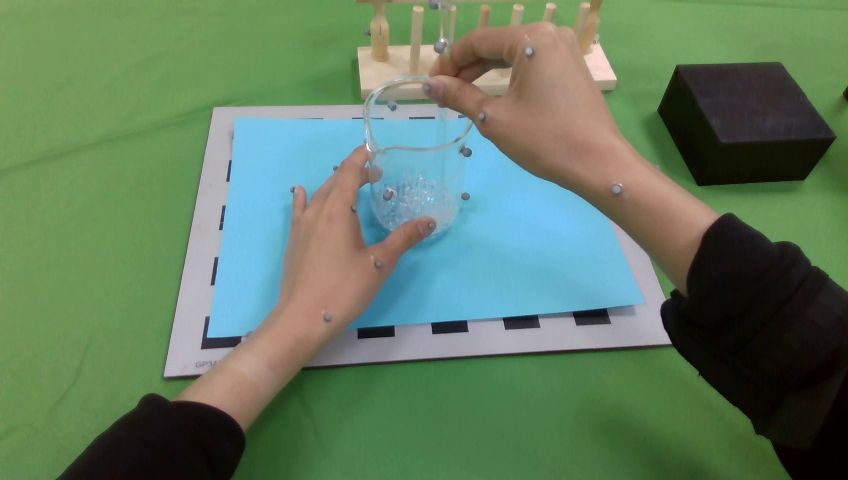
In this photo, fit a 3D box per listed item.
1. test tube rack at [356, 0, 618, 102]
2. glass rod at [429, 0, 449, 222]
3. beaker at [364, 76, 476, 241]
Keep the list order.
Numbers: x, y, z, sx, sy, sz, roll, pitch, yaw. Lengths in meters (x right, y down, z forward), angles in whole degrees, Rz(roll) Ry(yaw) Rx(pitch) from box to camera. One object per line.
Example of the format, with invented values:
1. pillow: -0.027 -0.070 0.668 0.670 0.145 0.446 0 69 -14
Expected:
1. test tube rack: 0.060 -0.187 0.559 0.243 0.086 0.066 -4 52 -7
2. glass rod: 0.008 -0.079 0.382 0.008 0.201 0.008 1 50 -1
3. beaker: -0.007 -0.052 0.435 0.073 0.101 0.084 35 58 23
